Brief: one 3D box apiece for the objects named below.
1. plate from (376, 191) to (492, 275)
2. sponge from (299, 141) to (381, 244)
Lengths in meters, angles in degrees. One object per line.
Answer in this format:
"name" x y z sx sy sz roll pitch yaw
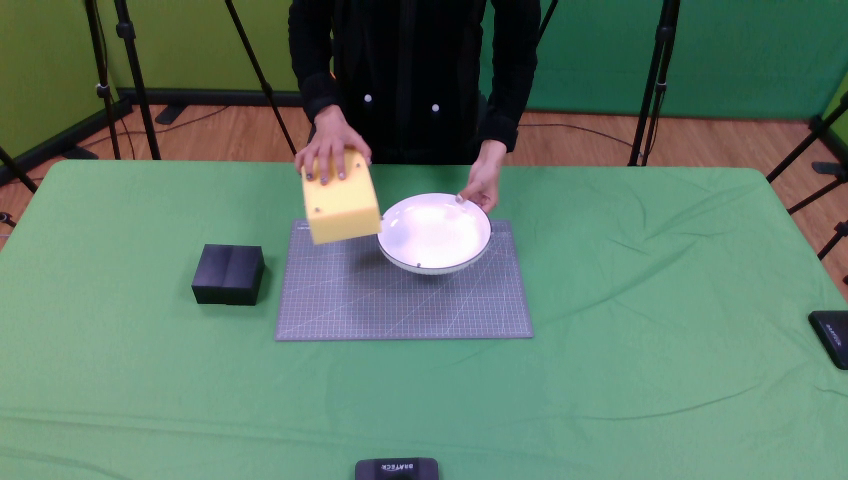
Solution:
"plate" 0.018 -0.010 1.095 0.209 0.038 0.208 -2 44 2
"sponge" -0.153 -0.089 1.082 0.118 0.061 0.205 -12 43 -7
